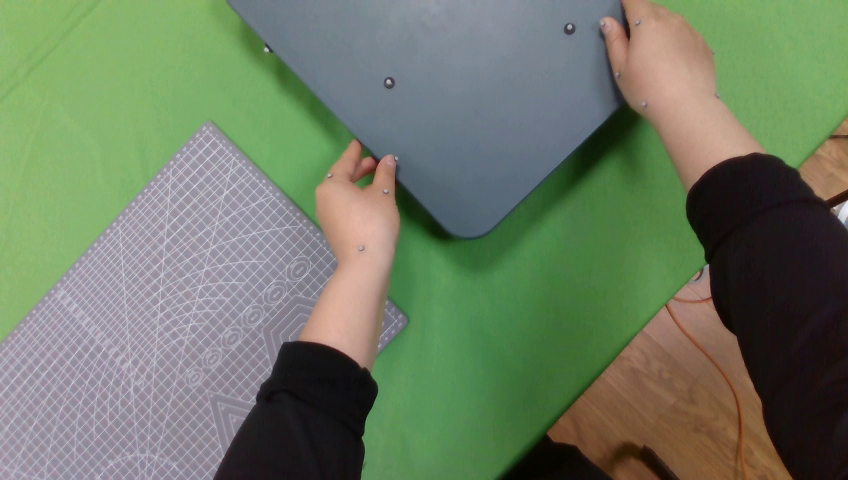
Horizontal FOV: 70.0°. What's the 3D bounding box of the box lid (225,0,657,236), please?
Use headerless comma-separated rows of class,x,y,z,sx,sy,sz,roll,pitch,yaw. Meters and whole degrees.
box lid,0.005,-0.214,0.572,0.263,0.015,0.371,-44,86,3
